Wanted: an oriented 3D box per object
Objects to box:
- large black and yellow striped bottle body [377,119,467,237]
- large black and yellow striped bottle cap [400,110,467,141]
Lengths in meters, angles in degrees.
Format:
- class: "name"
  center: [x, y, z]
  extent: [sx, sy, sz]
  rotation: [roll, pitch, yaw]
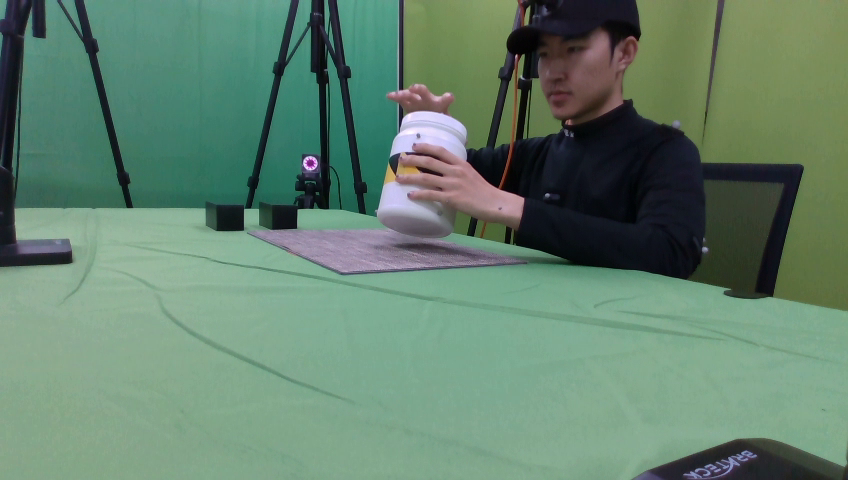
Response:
- class: "large black and yellow striped bottle body"
  center: [0.001, -0.110, 1.019]
  extent: [0.131, 0.183, 0.131]
  rotation: [10, -14, 3]
- class: "large black and yellow striped bottle cap"
  center: [0.016, -0.189, 1.037]
  extent: [0.115, 0.019, 0.115]
  rotation: [9, -15, 3]
